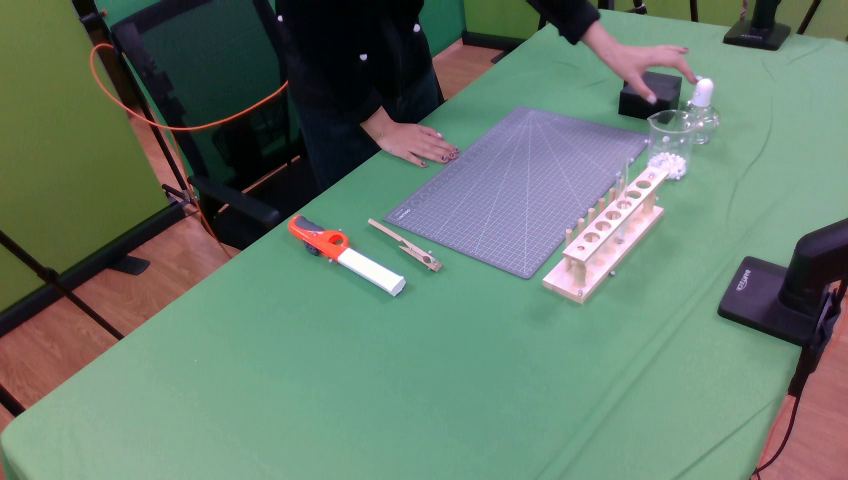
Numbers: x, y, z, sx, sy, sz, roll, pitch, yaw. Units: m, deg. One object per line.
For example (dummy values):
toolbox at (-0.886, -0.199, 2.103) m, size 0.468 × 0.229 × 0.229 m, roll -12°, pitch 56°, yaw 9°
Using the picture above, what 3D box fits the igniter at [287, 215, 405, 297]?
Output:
igniter at (-0.136, 0.019, 0.980) m, size 0.274 × 0.025 × 0.057 m, roll 28°, pitch 62°, yaw 36°

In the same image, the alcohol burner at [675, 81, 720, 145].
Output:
alcohol burner at (0.497, -0.234, 1.094) m, size 0.078 × 0.119 × 0.077 m, roll -5°, pitch 42°, yaw 5°

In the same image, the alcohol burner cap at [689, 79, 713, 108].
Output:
alcohol burner cap at (0.492, -0.262, 1.070) m, size 0.034 × 0.048 × 0.033 m, roll -1°, pitch 45°, yaw 1°

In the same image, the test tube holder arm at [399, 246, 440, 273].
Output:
test tube holder arm at (-0.009, 0.027, 0.957) m, size 0.087 × 0.015 × 0.010 m, roll 34°, pitch 89°, yaw 40°

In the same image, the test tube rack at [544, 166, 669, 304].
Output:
test tube rack at (0.274, -0.018, 0.903) m, size 0.066 × 0.085 × 0.243 m, roll 26°, pitch 51°, yaw 35°

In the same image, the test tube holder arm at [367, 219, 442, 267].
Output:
test tube holder arm at (-0.035, 0.004, 0.985) m, size 0.177 × 0.015 × 0.013 m, roll 32°, pitch 88°, yaw 40°

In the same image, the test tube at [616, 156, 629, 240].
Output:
test tube at (0.285, -0.057, 0.869) m, size 0.017 × 0.151 × 0.017 m, roll -8°, pitch 42°, yaw 8°

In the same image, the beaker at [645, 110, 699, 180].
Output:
beaker at (0.417, -0.160, 1.032) m, size 0.083 × 0.101 × 0.074 m, roll 25°, pitch 51°, yaw 35°
